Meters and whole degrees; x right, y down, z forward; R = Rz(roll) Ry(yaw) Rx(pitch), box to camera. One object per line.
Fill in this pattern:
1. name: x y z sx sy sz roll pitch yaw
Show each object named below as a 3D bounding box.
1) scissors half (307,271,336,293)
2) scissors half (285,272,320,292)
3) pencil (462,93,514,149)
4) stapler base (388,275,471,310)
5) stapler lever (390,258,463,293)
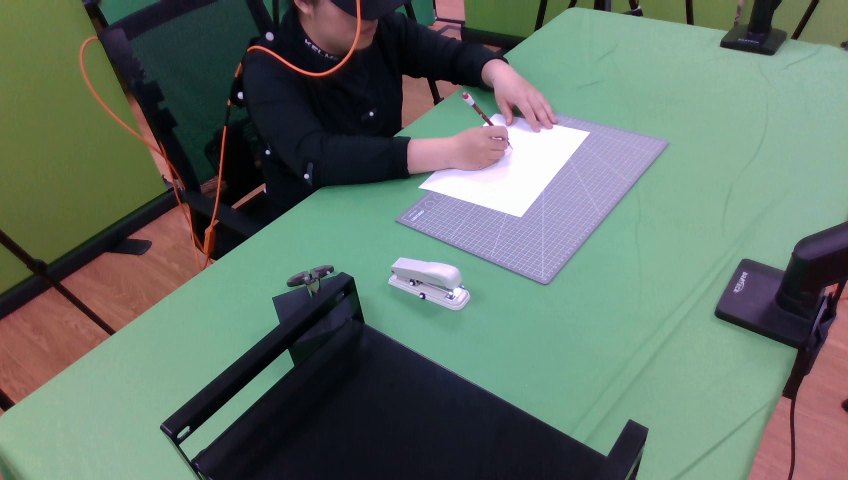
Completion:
1. scissors half: -0.151 0.061 0.872 0.040 0.013 0.175 -3 5 -4
2. scissors half: -0.171 0.063 0.868 0.040 0.013 0.174 -10 7 -21
3. pencil: 0.120 -0.211 1.093 0.012 0.196 0.012 -15 61 30
4. stapler base: 0.007 0.066 0.897 0.129 0.024 0.041 17 43 29
5. stapler lever: 0.003 0.046 0.881 0.117 0.040 0.027 17 43 29
